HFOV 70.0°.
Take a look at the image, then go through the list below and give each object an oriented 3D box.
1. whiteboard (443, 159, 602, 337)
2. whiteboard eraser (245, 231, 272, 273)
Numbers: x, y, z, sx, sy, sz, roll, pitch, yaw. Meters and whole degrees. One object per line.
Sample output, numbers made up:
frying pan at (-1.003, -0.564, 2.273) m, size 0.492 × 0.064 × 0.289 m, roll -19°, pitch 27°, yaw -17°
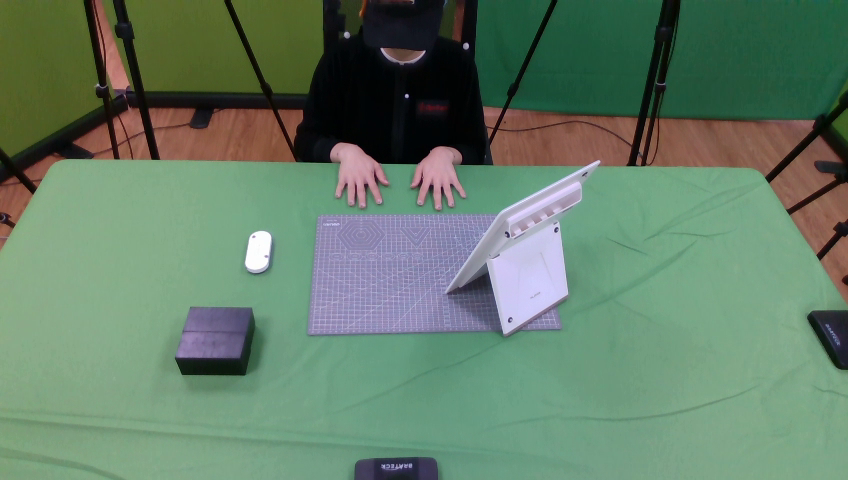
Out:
whiteboard at (0.193, 0.036, 1.018) m, size 0.217 × 0.306 × 0.143 m, roll -26°, pitch 72°, yaw -26°
whiteboard eraser at (-0.315, 0.023, 1.156) m, size 0.041 × 0.019 × 0.100 m, roll -1°, pitch 45°, yaw -4°
